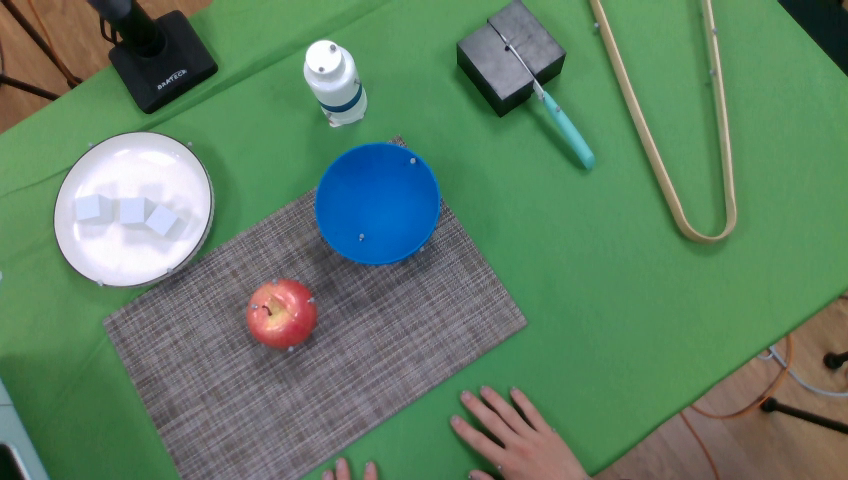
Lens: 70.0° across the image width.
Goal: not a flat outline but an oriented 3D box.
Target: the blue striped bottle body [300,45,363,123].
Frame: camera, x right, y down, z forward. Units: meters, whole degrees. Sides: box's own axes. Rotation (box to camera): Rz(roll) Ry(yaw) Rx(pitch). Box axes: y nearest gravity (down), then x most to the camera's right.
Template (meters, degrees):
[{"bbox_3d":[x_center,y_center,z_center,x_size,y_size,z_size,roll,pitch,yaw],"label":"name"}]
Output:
[{"bbox_3d":[-0.117,-0.201,0.763,0.063,0.121,0.063,-1,77,3],"label":"blue striped bottle body"}]

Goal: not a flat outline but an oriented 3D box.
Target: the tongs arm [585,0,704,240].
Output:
[{"bbox_3d":[0.273,-0.178,0.786,0.028,0.028,0.385,-17,78,-3],"label":"tongs arm"}]

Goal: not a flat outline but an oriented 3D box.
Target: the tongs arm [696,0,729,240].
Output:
[{"bbox_3d":[0.353,-0.191,0.780,0.051,0.026,0.383,-4,79,3],"label":"tongs arm"}]

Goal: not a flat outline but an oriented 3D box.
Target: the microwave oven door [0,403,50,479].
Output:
[{"bbox_3d":[-0.423,0.320,0.586,0.039,0.245,0.354,-35,78,-5],"label":"microwave oven door"}]

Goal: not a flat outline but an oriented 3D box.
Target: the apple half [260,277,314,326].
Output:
[{"bbox_3d":[-0.156,0.067,0.727,0.081,0.081,0.033,41,85,11],"label":"apple half"}]

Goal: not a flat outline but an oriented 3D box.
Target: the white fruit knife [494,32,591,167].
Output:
[{"bbox_3d":[0.150,-0.181,0.772,0.016,0.027,0.207,-36,89,-6],"label":"white fruit knife"}]

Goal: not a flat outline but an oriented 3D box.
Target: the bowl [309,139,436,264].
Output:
[{"bbox_3d":[-0.057,-0.039,0.743,0.151,0.077,0.150,-1,78,3],"label":"bowl"}]

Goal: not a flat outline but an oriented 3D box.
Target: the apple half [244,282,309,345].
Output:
[{"bbox_3d":[-0.181,0.095,0.724,0.080,0.075,0.053,41,87,8],"label":"apple half"}]

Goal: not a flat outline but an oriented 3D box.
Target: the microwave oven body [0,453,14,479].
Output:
[{"bbox_3d":[-0.567,0.371,0.588,0.326,0.261,0.439,-35,79,-5],"label":"microwave oven body"}]

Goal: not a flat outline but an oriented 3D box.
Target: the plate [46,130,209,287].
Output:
[{"bbox_3d":[-0.378,-0.039,0.785,0.207,0.039,0.206,-1,78,3],"label":"plate"}]

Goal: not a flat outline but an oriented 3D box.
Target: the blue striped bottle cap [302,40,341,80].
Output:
[{"bbox_3d":[-0.121,-0.212,0.713,0.044,0.021,0.044,0,76,2],"label":"blue striped bottle cap"}]

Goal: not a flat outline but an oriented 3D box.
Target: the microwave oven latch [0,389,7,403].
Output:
[{"bbox_3d":[-0.539,0.169,0.730,0.030,0.029,0.079,-35,79,-5],"label":"microwave oven latch"}]
